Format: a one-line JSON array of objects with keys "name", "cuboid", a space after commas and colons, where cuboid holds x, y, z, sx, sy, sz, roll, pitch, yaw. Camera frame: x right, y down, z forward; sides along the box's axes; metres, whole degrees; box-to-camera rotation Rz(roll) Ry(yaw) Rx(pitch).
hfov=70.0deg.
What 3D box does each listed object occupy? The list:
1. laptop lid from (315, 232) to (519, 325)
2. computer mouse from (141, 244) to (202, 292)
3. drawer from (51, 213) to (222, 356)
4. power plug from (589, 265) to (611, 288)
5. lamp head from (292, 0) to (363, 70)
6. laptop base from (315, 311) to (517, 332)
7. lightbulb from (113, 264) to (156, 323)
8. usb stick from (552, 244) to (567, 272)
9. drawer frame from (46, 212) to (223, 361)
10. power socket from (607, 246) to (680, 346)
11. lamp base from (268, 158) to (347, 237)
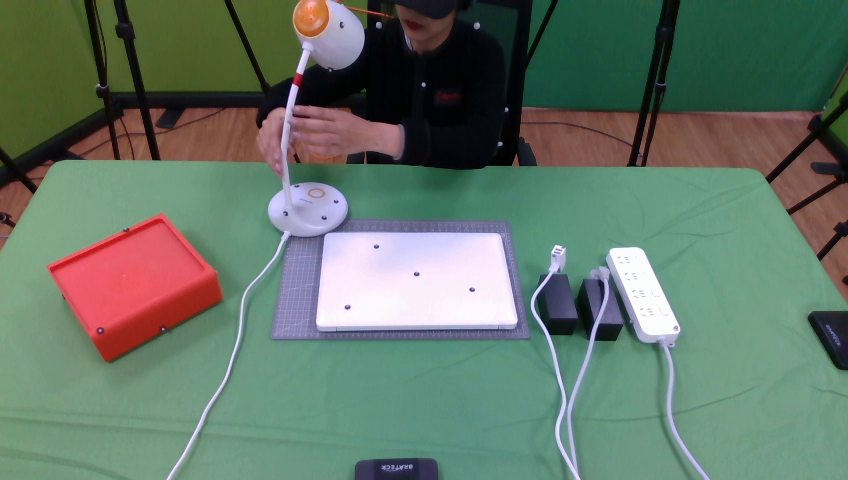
[{"name": "laptop lid", "cuboid": [-0.015, 0.065, 1.118, 0.357, 0.013, 0.240, 1, 43, -3]}, {"name": "computer mouse", "cuboid": [-0.459, 0.044, 1.099, 0.116, 0.041, 0.063, 30, 52, 29]}, {"name": "drawer", "cuboid": [-0.494, 0.071, 1.052, 0.212, 0.073, 0.193, -32, 57, -29]}, {"name": "power plug", "cuboid": [0.318, 0.073, 1.108, 0.035, 0.053, 0.072, 26, 34, 13]}, {"name": "lamp head", "cuboid": [-0.178, -0.364, 1.054, 0.112, 0.112, 0.123, 19, 8, 14]}, {"name": "laptop base", "cuboid": [-0.016, 0.075, 1.125, 0.355, 0.023, 0.234, 0, 42, -4]}, {"name": "lightbulb", "cuboid": [-0.493, 0.090, 1.044, 0.059, 0.060, 0.107, 9, 62, 5]}, {"name": "usb stick", "cuboid": [0.251, 0.039, 1.124, 0.021, 0.059, 0.027, 14, 47, 25]}, {"name": "drawer frame", "cuboid": [-0.496, 0.072, 1.049, 0.213, 0.083, 0.200, -33, 56, -29]}, {"name": "power socket", "cuboid": [0.403, 0.095, 1.123, 0.072, 0.033, 0.225, -3, 46, -5]}, {"name": "lamp base", "cuboid": [-0.237, -0.112, 1.177, 0.160, 0.181, 0.178, 13, 47, 10]}]
